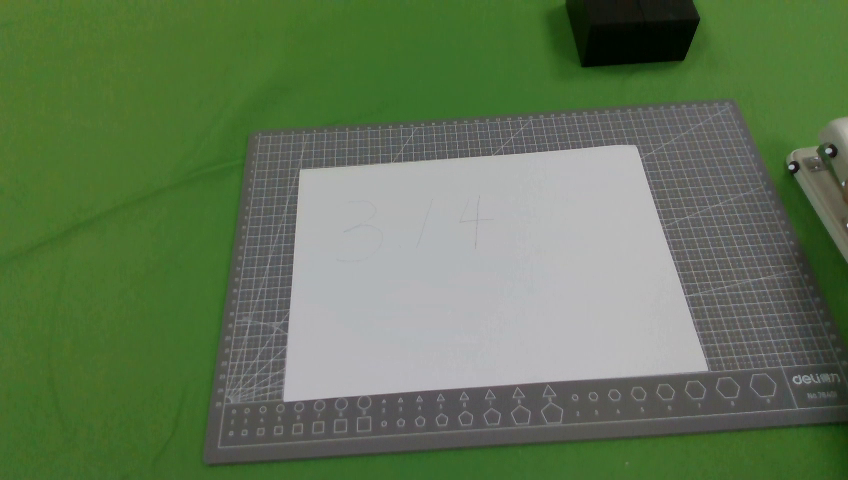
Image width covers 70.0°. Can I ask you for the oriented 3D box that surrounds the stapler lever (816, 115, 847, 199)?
[{"bbox_3d":[0.336,-0.044,0.459,0.027,0.040,0.117,-9,58,1],"label":"stapler lever"}]

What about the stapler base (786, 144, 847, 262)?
[{"bbox_3d":[0.337,-0.031,0.481,0.041,0.024,0.129,-9,58,0],"label":"stapler base"}]
